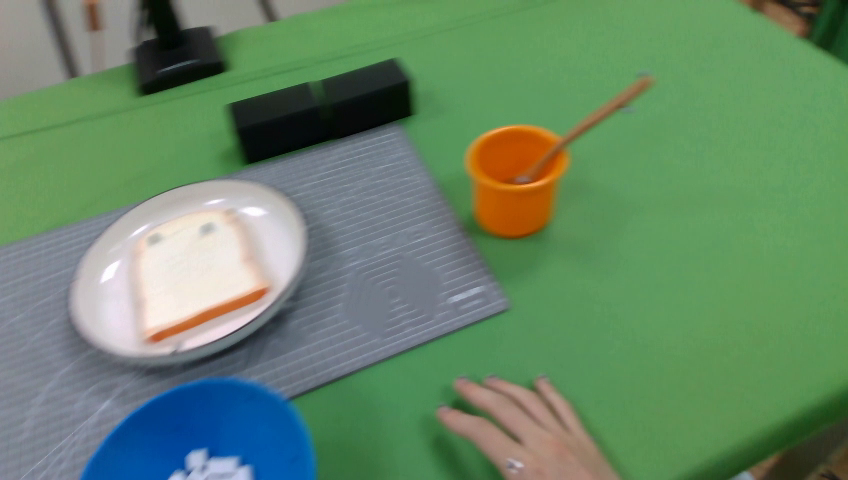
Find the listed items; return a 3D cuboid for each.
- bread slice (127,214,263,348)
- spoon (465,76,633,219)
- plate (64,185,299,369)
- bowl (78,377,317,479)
[{"bbox_3d":[-0.223,0.031,0.567,0.107,0.018,0.133,-27,53,-16],"label":"bread slice"},{"bbox_3d":[0.110,-0.082,0.559,0.022,0.194,0.041,23,39,-36],"label":"spoon"},{"bbox_3d":[-0.218,0.032,0.562,0.209,0.038,0.207,-3,48,4],"label":"plate"},{"bbox_3d":[-0.139,0.176,0.400,0.151,0.077,0.150,-1,50,2],"label":"bowl"}]
